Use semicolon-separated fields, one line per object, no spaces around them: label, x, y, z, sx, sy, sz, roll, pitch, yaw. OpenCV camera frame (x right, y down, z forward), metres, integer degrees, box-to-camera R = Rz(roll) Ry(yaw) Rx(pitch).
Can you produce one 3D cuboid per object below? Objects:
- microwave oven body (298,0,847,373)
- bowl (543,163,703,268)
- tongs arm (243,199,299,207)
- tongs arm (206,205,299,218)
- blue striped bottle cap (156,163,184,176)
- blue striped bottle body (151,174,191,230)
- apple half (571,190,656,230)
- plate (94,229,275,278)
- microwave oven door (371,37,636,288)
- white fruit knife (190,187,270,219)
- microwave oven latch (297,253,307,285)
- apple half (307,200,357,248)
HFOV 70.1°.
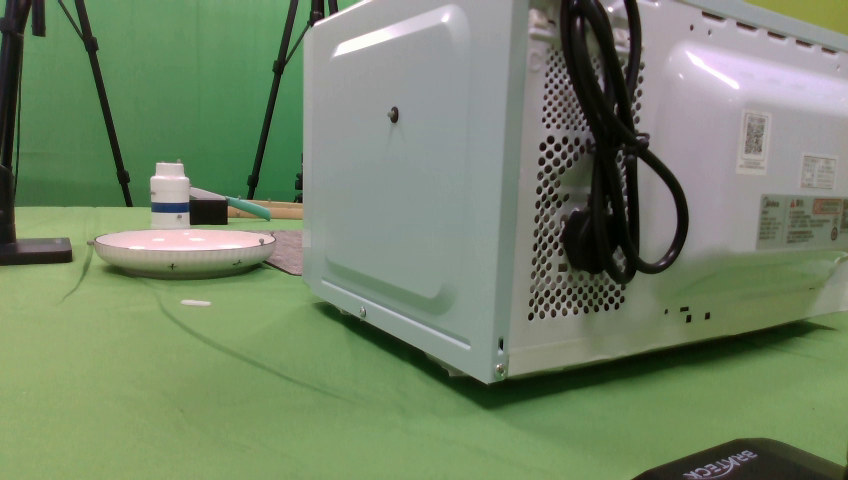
microwave oven body;0.151;-0.055;0.542;0.444;0.260;0.324;-1;7;-33
bowl;0.181;-0.020;0.585;0.151;0.077;0.151;13;7;-1
tongs arm;-0.309;-0.079;1.487;0.385;0.026;0.050;3;7;-2
tongs arm;-0.302;-0.065;1.407;0.389;0.028;0.028;1;4;-15
blue striped bottle cap;-0.438;-0.122;1.045;0.044;0.020;0.044;5;6;0
blue striped bottle body;-0.439;-0.071;1.052;0.063;0.120;0.063;2;7;0
apple half;0.181;-0.031;0.583;0.081;0.033;0.081;10;-5;1
plate;-0.291;0.016;0.749;0.208;0.039;0.207;2;7;0
microwave oven door;0.110;-0.080;0.686;0.358;0.243;0.039;-2;9;-33
white fruit knife;-0.413;-0.081;1.270;0.208;0.027;0.016;17;14;-41
microwave oven latch;-0.082;0.027;0.582;0.079;0.029;0.030;-1;7;-33
apple half;-0.135;-0.024;0.941;0.053;0.074;0.081;13;8;38
